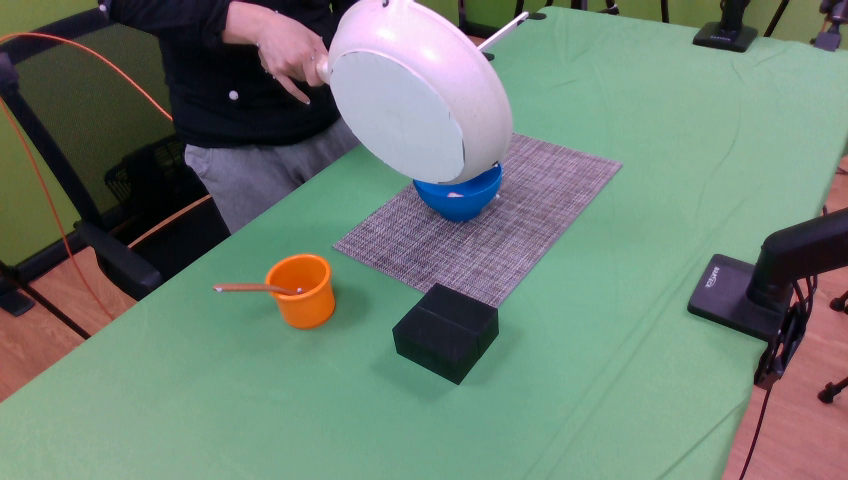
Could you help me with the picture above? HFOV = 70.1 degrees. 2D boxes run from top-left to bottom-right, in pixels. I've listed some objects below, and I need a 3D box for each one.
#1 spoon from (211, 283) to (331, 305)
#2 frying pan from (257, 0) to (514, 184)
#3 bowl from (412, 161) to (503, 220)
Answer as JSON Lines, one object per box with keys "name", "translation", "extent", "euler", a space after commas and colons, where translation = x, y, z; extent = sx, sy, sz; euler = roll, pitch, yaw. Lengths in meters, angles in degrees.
{"name": "spoon", "translation": [-0.201, 0.069, 0.819], "extent": [0.041, 0.195, 0.021], "euler": [32, 99, 37]}
{"name": "frying pan", "translation": [-0.093, -0.231, 0.891], "extent": [0.484, 0.308, 0.103], "euler": [31, 64, 32]}
{"name": "bowl", "translation": [0.057, -0.086, 1.010], "extent": [0.151, 0.077, 0.150], "euler": [-4, 41, 4]}
